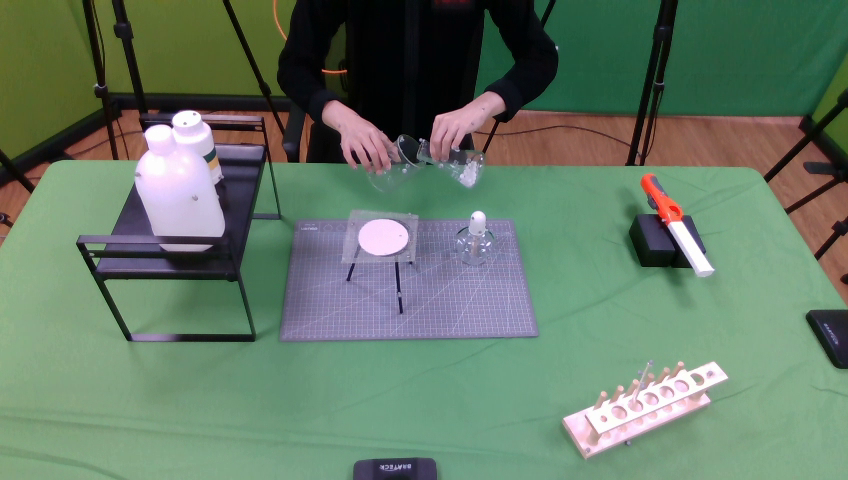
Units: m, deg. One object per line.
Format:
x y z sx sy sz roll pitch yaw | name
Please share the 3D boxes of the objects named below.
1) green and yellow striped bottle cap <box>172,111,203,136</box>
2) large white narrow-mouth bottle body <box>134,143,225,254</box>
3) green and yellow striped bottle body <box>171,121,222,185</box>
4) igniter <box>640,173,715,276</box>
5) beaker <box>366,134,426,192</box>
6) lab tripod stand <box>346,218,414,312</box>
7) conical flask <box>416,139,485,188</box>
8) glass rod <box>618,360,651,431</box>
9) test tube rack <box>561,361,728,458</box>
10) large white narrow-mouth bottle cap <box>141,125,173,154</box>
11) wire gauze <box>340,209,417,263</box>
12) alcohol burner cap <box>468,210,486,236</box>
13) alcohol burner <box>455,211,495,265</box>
-0.374 -0.185 0.958 0.045 0.020 0.045 4 46 -4 | green and yellow striped bottle cap
-0.358 -0.075 0.875 0.102 0.195 0.101 1 47 -1 | large white narrow-mouth bottle body
-0.375 -0.149 0.995 0.063 0.120 0.063 2 46 -2 | green and yellow striped bottle body
0.495 -0.039 1.204 0.057 0.025 0.274 -2 47 -13 | igniter
-0.055 -0.143 1.154 0.084 0.100 0.073 15 51 -46 | beaker
-0.070 0.037 1.075 0.148 0.132 0.147 1 47 -1 | lab tripod stand
0.047 -0.149 1.131 0.122 0.075 0.075 19 45 -12 | conical flask
0.298 0.227 0.865 0.008 0.201 0.008 -1 48 2 | glass rod
0.341 0.248 0.940 0.243 0.085 0.066 -15 48 -18 | test tube rack
-0.356 -0.134 0.810 0.038 0.024 0.037 1 47 -1 | large white narrow-mouth bottle cap
-0.074 -0.007 1.023 0.121 0.011 0.124 3 46 1 | wire gauze
0.099 -0.034 1.119 0.034 0.048 0.033 0 53 0 | alcohol burner cap
0.097 -0.010 1.147 0.078 0.120 0.077 1 47 0 | alcohol burner
